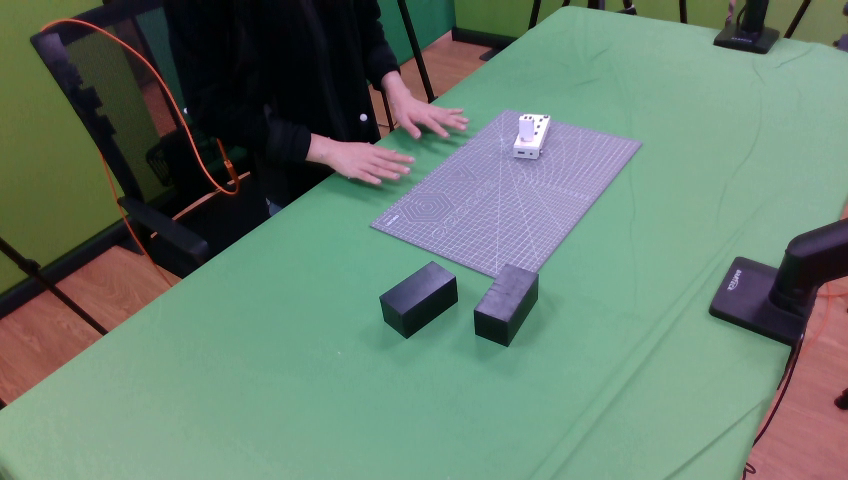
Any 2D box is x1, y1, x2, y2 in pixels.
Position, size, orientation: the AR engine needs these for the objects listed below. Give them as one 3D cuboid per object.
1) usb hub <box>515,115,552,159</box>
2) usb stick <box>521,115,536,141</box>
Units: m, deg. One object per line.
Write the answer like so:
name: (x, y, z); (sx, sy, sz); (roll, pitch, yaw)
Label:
usb hub: (0.213, -0.201, 1.173); (0.049, 0.025, 0.125); (9, 44, 18)
usb stick: (0.196, -0.203, 1.134); (0.027, 0.059, 0.021); (8, 42, 15)
